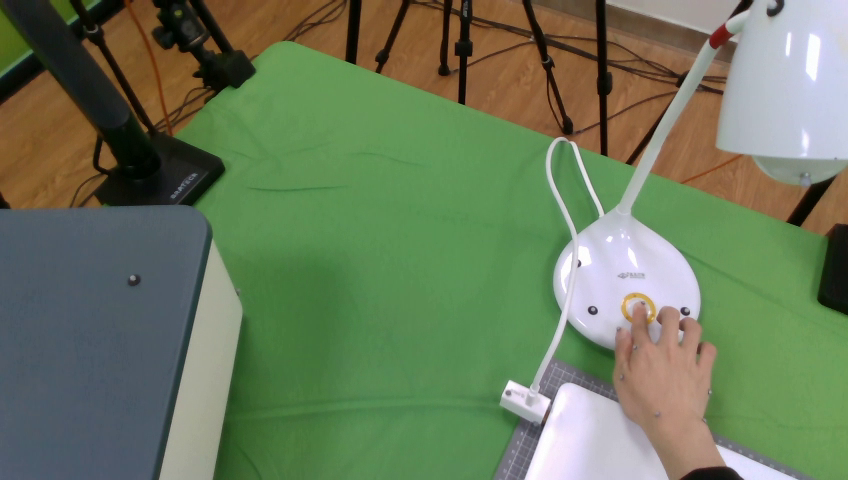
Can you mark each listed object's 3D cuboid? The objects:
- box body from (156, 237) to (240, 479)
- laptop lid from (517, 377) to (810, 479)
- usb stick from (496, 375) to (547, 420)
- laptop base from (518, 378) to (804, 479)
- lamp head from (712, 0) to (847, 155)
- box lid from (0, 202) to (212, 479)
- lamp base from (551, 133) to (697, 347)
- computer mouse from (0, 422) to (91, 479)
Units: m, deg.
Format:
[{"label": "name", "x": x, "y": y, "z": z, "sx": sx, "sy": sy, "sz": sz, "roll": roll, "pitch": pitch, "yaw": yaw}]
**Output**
[{"label": "box body", "x": -0.321, "y": 0.162, "z": 0.523, "sx": 0.254, "sy": 0.162, "sz": 0.360, "roll": 0, "pitch": 56, "yaw": 0}, {"label": "laptop lid", "x": 0.241, "y": 0.285, "z": 0.511, "sx": 0.355, "sy": 0.013, "sz": 0.240, "roll": 23, "pitch": 62, "yaw": 15}, {"label": "usb stick", "x": 0.102, "y": 0.157, "z": 0.594, "sx": 0.059, "sy": 0.027, "sz": 0.021, "roll": 26, "pitch": 56, "yaw": 14}, {"label": "laptop base", "x": 0.243, "y": 0.290, "z": 0.522, "sx": 0.353, "sy": 0.023, "sz": 0.234, "roll": 22, "pitch": 63, "yaw": 14}, {"label": "lamp head", "x": 0.233, "y": -0.114, "z": 0.357, "sx": 0.112, "sy": 0.112, "sz": 0.123, "roll": -3, "pitch": 100, "yaw": -1}, {"label": "box lid", "x": -0.321, "y": 0.119, "z": 0.462, "sx": 0.263, "sy": 0.015, "sz": 0.368, "roll": -1, "pitch": 57, "yaw": 0}, {"label": "lamp base", "x": 0.218, "y": -0.007, "z": 0.622, "sx": 0.161, "sy": 0.182, "sz": 0.177, "roll": -10, "pitch": 54, "yaw": -6}, {"label": "computer mouse", "x": -0.352, "y": 0.208, "z": 0.553, "sx": 0.063, "sy": 0.041, "sz": 0.116, "roll": -26, "pitch": 20, "yaw": -6}]
